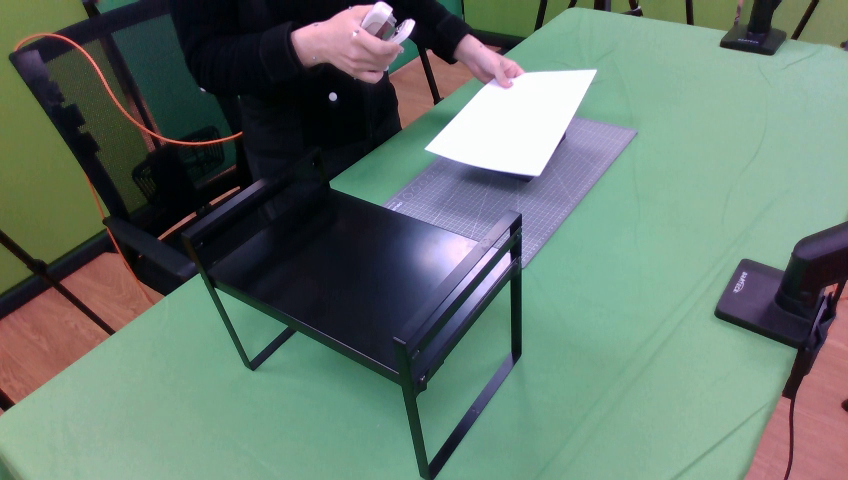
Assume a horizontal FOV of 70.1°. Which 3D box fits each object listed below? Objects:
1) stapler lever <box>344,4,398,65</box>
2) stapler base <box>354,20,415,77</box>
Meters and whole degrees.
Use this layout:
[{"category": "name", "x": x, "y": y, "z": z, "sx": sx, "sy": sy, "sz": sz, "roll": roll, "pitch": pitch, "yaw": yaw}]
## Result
[{"category": "stapler lever", "x": -0.084, "y": -0.298, "z": 0.877, "sx": 0.117, "sy": 0.040, "sz": 0.027, "roll": -21, "pitch": 39, "yaw": 45}, {"category": "stapler base", "x": -0.066, "y": -0.286, "z": 0.887, "sx": 0.130, "sy": 0.024, "sz": 0.041, "roll": -22, "pitch": 38, "yaw": 46}]
